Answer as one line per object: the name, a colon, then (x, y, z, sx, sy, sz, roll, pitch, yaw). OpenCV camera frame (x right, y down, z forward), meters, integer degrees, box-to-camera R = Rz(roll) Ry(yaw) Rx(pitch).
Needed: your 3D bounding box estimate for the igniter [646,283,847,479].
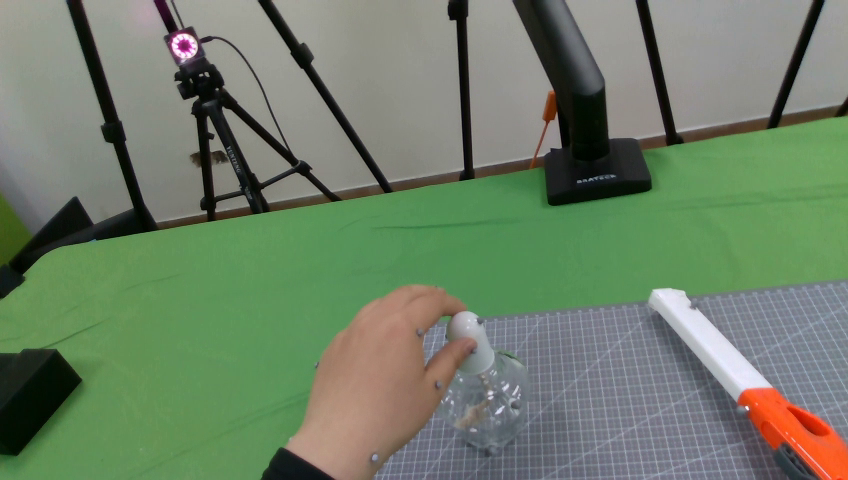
igniter: (0.241, 0.113, 0.426, 0.057, 0.025, 0.273, 0, 29, -14)

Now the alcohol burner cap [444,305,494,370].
alcohol burner cap: (0.031, 0.068, 0.444, 0.034, 0.048, 0.033, -11, 34, 8)

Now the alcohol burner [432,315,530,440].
alcohol burner: (0.040, 0.097, 0.464, 0.078, 0.120, 0.077, -10, 36, 8)
